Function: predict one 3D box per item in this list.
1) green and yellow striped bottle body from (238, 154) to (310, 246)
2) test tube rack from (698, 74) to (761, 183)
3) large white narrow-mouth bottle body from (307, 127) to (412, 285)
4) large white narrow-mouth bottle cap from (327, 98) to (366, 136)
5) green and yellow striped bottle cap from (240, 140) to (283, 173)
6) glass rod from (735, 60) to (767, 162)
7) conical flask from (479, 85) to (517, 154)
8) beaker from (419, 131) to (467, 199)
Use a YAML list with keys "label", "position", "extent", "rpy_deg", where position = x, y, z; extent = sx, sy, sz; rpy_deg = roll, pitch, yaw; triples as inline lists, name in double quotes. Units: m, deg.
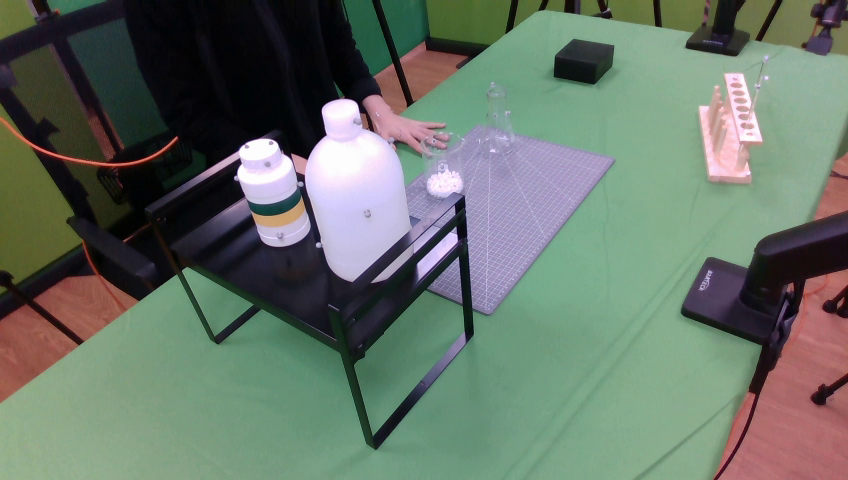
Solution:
- label: "green and yellow striped bottle body"
  position: [-0.178, -0.056, 0.714]
  extent: [0.063, 0.120, 0.063]
  rpy_deg: [-4, 40, 4]
- label: "test tube rack"
  position: [0.547, -0.208, 1.095]
  extent: [0.066, 0.085, 0.242]
  rpy_deg: [5, 42, 15]
- label: "large white narrow-mouth bottle body"
  position: [-0.070, -0.051, 0.638]
  extent: [0.102, 0.195, 0.101]
  rpy_deg: [-3, 40, 3]
- label: "large white narrow-mouth bottle cap"
  position: [-0.075, -0.118, 0.581]
  extent: [0.038, 0.024, 0.037]
  rpy_deg: [-3, 40, 3]
- label: "green and yellow striped bottle cap"
  position: [-0.183, -0.094, 0.679]
  extent: [0.045, 0.020, 0.045]
  rpy_deg: [-4, 38, 4]
- label: "glass rod"
  position: [0.534, -0.204, 0.989]
  extent: [0.008, 0.201, 0.008]
  rpy_deg: [-6, 46, 6]
- label: "conical flask"
  position: [0.139, -0.231, 1.145]
  extent: [0.075, 0.122, 0.075]
  rpy_deg: [-4, 41, 4]
- label: "beaker"
  position: [0.037, -0.130, 1.060]
  extent: [0.084, 0.100, 0.073]
  rpy_deg: [-14, 41, -9]
